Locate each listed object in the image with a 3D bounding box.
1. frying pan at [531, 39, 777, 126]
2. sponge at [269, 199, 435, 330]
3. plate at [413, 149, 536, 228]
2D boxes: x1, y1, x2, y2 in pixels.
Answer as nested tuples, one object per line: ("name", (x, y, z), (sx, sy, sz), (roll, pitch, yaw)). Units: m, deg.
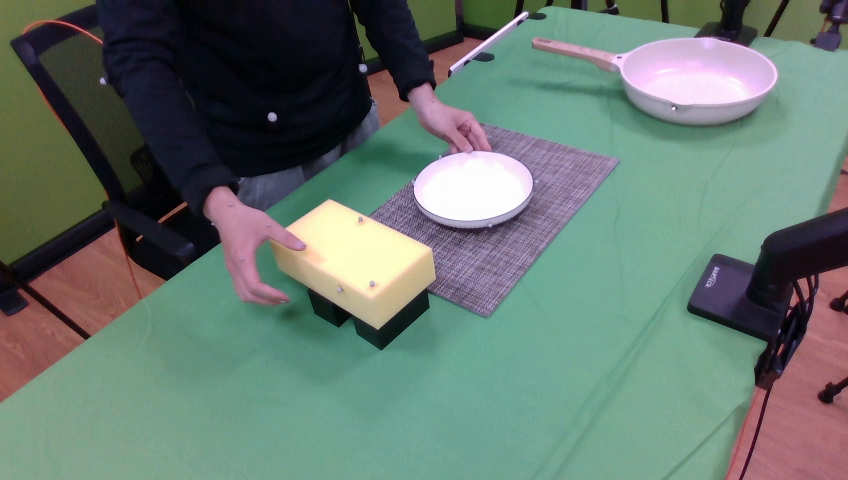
("frying pan", (0.452, -0.354, 1.254), (0.485, 0.103, 0.307), (22, 47, 19))
("sponge", (-0.102, 0.027, 0.846), (0.205, 0.061, 0.118), (25, 50, 32))
("plate", (0.086, -0.085, 1.038), (0.207, 0.039, 0.206), (-4, 40, 4))
